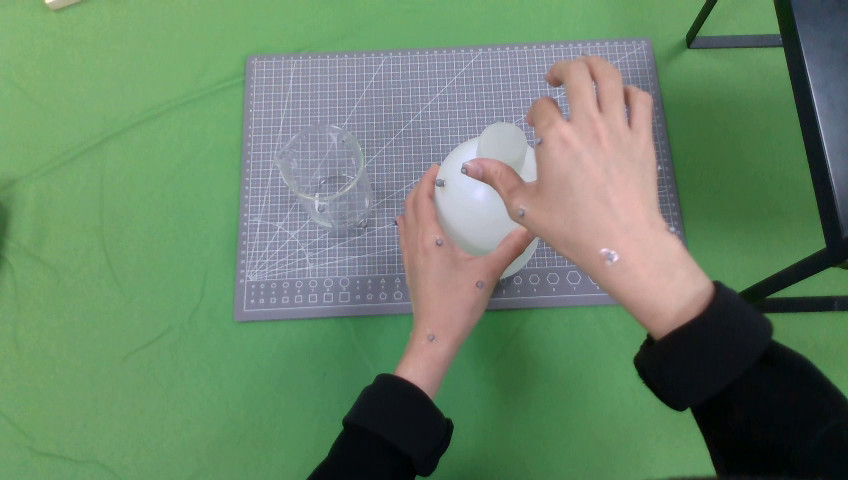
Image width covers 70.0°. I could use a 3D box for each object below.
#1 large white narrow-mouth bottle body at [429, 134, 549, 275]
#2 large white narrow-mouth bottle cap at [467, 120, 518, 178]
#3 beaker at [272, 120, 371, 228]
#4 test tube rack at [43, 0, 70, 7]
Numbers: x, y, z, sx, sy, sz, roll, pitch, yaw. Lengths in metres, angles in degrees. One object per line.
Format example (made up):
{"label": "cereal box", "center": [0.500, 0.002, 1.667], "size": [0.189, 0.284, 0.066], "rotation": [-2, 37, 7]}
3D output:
{"label": "large white narrow-mouth bottle body", "center": [0.055, -0.036, 0.522], "size": [0.102, 0.196, 0.101], "rotation": [-1, 74, 3]}
{"label": "large white narrow-mouth bottle cap", "center": [0.049, -0.063, 0.429], "size": [0.038, 0.024, 0.037], "rotation": [-1, 74, 3]}
{"label": "beaker", "center": [-0.093, -0.058, 0.580], "size": [0.084, 0.101, 0.073], "rotation": [7, 73, 4]}
{"label": "test tube rack", "center": [-0.338, -0.357, 0.683], "size": [0.242, 0.085, 0.066], "rotation": [-23, 74, -6]}
